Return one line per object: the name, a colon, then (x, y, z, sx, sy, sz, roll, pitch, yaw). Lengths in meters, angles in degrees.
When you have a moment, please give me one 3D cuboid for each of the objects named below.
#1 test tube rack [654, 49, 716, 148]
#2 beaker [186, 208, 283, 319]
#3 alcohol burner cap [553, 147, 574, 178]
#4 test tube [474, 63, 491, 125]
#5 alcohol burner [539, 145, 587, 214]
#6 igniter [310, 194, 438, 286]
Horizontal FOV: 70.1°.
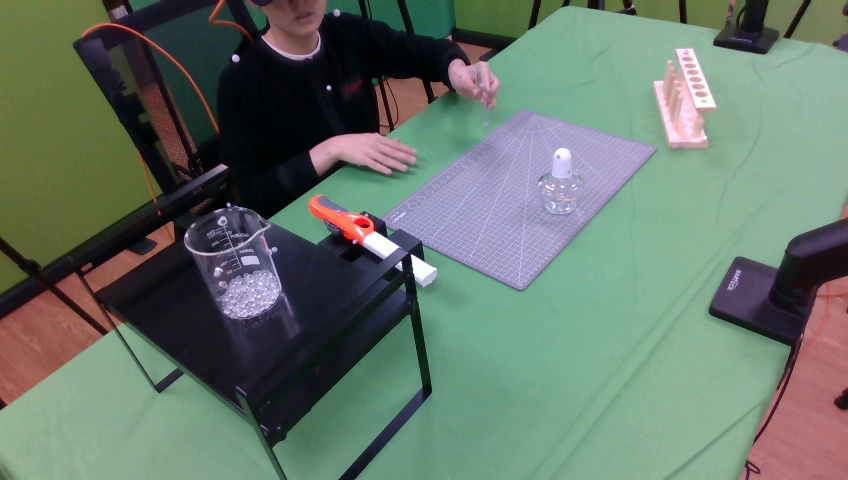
test tube rack: (0.502, -0.281, 1.176, 0.066, 0.085, 0.241, 1, 41, 11)
beaker: (-0.192, 0.026, 0.637, 0.084, 0.101, 0.073, -13, 41, -7)
alcohol burner cap: (0.224, -0.125, 0.965, 0.034, 0.048, 0.033, -5, 44, 5)
test tube: (0.111, -0.268, 1.129, 0.017, 0.151, 0.017, -6, 57, 10)
alcohol burner: (0.226, -0.102, 0.986, 0.078, 0.119, 0.077, -6, 41, 6)
igniter: (-0.087, -0.007, 0.921, 0.274, 0.025, 0.057, 31, 51, 34)
